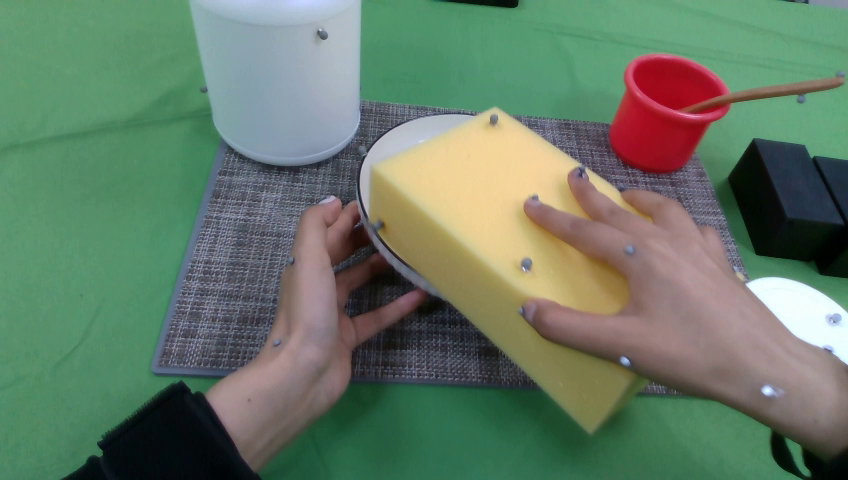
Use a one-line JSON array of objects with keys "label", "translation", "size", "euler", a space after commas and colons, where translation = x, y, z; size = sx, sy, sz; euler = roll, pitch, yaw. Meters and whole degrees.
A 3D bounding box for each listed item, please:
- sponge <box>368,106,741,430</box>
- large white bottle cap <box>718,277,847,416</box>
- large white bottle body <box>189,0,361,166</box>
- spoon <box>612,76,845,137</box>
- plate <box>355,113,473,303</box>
[{"label": "sponge", "translation": [0.073, 0.004, 0.394], "size": [0.118, 0.061, 0.205], "euler": [-32, 58, -30]}, {"label": "large white bottle cap", "translation": [0.285, 0.078, 0.464], "size": [0.115, 0.018, 0.113], "euler": [6, 50, -7]}, {"label": "large white bottle body", "translation": [-0.117, -0.168, 0.494], "size": [0.131, 0.186, 0.129], "euler": [4, 50, -4]}, {"label": "spoon", "translation": [0.259, -0.119, 0.540], "size": [0.193, 0.022, 0.041], "euler": [-8, 31, 47]}, {"label": "plate", "translation": [0.047, -0.023, 0.487], "size": [0.210, 0.038, 0.207], "euler": [9, 48, -9]}]
